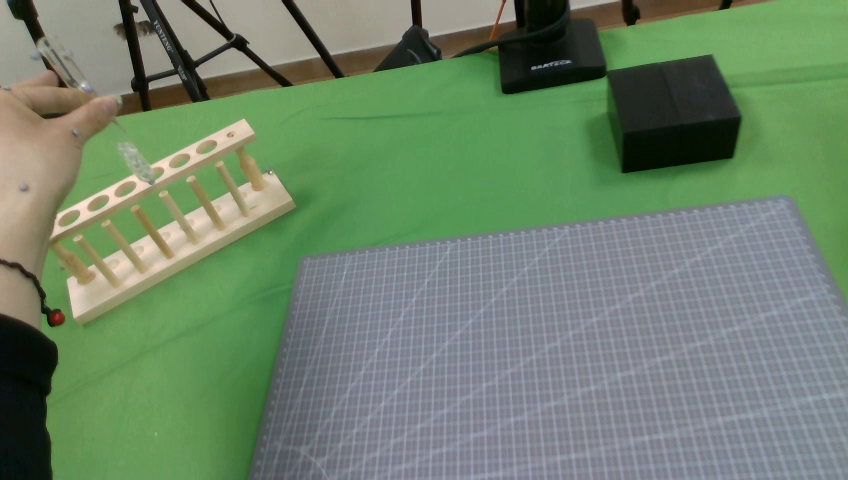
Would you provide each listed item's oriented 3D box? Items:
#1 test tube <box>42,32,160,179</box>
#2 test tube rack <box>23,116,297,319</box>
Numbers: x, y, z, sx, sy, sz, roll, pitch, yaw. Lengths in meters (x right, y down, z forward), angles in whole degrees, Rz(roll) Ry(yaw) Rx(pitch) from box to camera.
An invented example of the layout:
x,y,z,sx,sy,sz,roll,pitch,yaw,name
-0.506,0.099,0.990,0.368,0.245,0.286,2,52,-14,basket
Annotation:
x,y,z,sx,sy,sz,roll,pitch,yaw,name
-0.250,-0.099,0.481,0.017,0.151,0.017,-3,57,5,test tube
-0.265,-0.026,0.624,0.242,0.086,0.066,-31,48,-12,test tube rack
